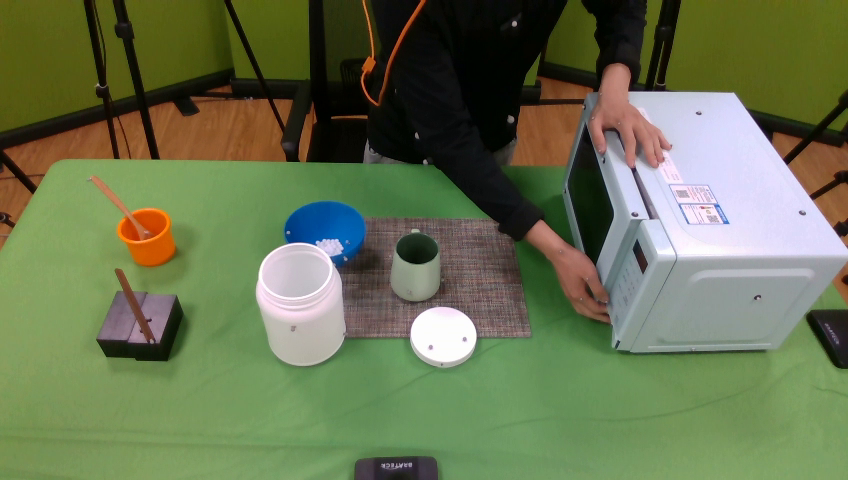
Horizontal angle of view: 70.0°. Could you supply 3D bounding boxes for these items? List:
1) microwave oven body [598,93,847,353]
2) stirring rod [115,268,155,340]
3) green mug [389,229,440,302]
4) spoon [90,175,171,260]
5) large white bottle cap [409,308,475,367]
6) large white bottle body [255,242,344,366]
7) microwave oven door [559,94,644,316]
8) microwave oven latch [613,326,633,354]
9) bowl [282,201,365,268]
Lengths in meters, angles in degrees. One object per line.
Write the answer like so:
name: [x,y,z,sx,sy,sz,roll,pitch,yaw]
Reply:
microwave oven body: [0.476,-0.041,1.110,0.326,0.261,0.438,-1,45,-4]
stirring rod: [-0.478,0.103,0.999,0.014,0.006,0.175,7,32,-49]
green mug: [-0.017,0.039,1.100,0.092,0.105,0.124,-1,46,-4]
spoon: [-0.538,-0.042,1.111,0.021,0.194,0.041,-14,26,51]
large white bottle cap: [0.031,0.166,1.041,0.115,0.018,0.114,2,46,-2]
large white bottle body: [-0.196,0.102,0.967,0.131,0.185,0.130,2,49,-2]
microwave oven door: [0.319,-0.074,1.123,0.039,0.245,0.353,2,46,-3]
microwave oven latch: [0.340,0.156,1.042,0.030,0.029,0.079,10,45,8]
bowl: [-0.187,0.005,1.138,0.151,0.077,0.150,3,46,-3]
